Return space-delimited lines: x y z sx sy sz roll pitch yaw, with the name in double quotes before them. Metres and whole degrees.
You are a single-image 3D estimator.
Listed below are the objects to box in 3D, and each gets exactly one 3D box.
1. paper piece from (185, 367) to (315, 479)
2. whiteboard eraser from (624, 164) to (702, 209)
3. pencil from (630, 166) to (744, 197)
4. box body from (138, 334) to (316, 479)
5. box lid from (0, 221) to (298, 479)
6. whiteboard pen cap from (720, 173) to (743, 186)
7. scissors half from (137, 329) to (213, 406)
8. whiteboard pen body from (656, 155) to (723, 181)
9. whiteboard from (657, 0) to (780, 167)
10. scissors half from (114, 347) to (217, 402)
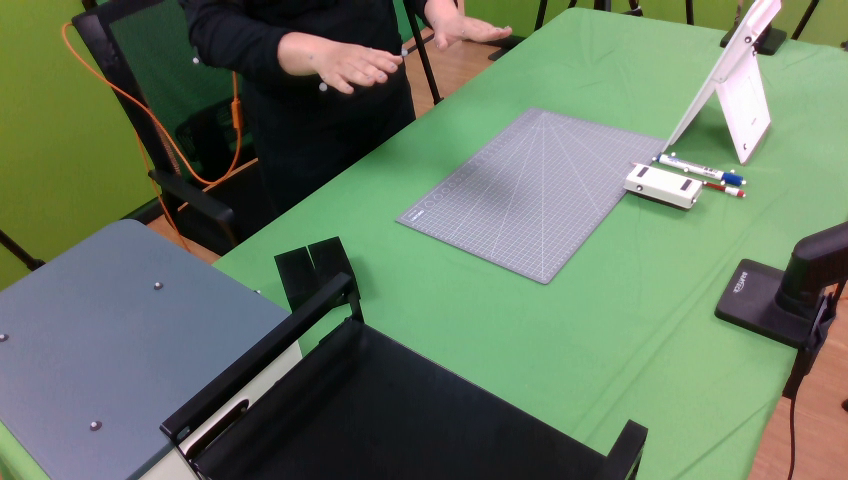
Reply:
"paper piece" -0.221 0.234 0.757 0.136 0.009 0.137 -39 36 -23
"whiteboard eraser" 0.396 -0.087 1.003 0.112 0.042 0.056 22 47 31
"pencil" 0.447 -0.103 1.038 0.192 0.012 0.012 21 48 29
"box body" -0.339 0.162 0.728 0.361 0.161 0.255 23 48 31
"box lid" -0.346 0.106 0.679 0.368 0.015 0.264 23 49 31
"whiteboard pen cap" 0.519 -0.103 1.020 0.033 0.018 0.018 23 49 30
"scissors half" -0.336 0.173 0.824 0.040 0.013 0.174 -35 54 -30
"whiteboard pen body" 0.475 -0.123 1.052 0.139 0.017 0.017 24 50 32
"whiteboard" 0.571 -0.272 1.038 0.143 0.306 0.218 36 54 17
"scissors half" -0.349 0.185 0.812 0.174 0.013 0.040 16 52 18
